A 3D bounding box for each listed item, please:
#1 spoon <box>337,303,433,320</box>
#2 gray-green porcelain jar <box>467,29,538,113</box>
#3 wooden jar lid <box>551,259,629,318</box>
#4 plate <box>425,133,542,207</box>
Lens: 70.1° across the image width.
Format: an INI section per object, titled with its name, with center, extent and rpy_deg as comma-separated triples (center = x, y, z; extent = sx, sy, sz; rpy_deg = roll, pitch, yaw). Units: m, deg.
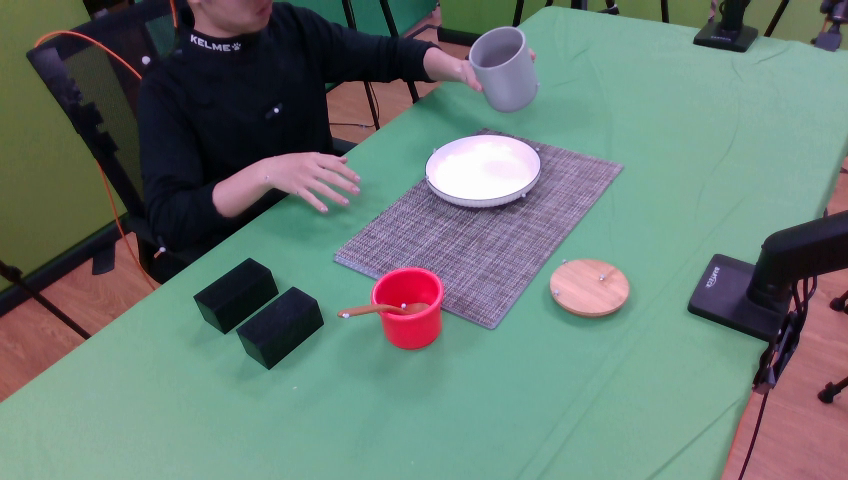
[spoon]
center = -0.048, 0.091, 0.777
extent = 0.041, 0.021, 0.195
rpy_deg = 23, 5, 32
[gray-green porcelain jar]
center = 0.150, -0.309, 1.128
extent = 0.105, 0.127, 0.105
rpy_deg = -13, 55, 20
[wooden jar lid]
center = 0.234, 0.070, 0.857
extent = 0.108, 0.021, 0.108
rpy_deg = -5, 40, 4
[plate]
center = 0.106, -0.122, 1.079
extent = 0.207, 0.039, 0.206
rpy_deg = -4, 41, 4
